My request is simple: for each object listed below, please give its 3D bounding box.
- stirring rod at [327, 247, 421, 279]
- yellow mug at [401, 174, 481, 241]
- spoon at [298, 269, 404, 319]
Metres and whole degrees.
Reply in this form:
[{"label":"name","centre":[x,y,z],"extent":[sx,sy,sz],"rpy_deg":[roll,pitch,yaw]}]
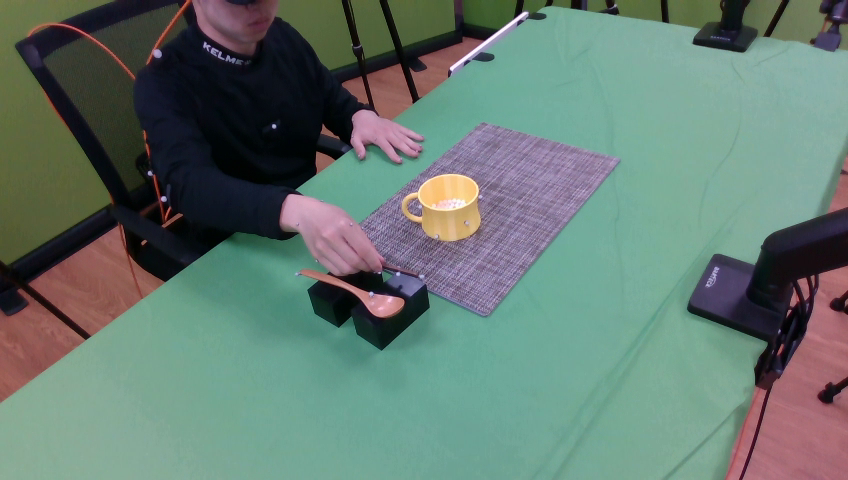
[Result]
[{"label":"stirring rod","centre":[-0.074,0.031,0.852],"extent":[0.174,0.014,0.006],"rpy_deg":[14,73,36]},{"label":"yellow mug","centre":[0.026,-0.054,0.989],"extent":[0.130,0.064,0.099],"rpy_deg":[-1,41,8]},{"label":"spoon","centre":[-0.106,0.068,0.831],"extent":[0.192,0.022,0.042],"rpy_deg":[20,48,32]}]
